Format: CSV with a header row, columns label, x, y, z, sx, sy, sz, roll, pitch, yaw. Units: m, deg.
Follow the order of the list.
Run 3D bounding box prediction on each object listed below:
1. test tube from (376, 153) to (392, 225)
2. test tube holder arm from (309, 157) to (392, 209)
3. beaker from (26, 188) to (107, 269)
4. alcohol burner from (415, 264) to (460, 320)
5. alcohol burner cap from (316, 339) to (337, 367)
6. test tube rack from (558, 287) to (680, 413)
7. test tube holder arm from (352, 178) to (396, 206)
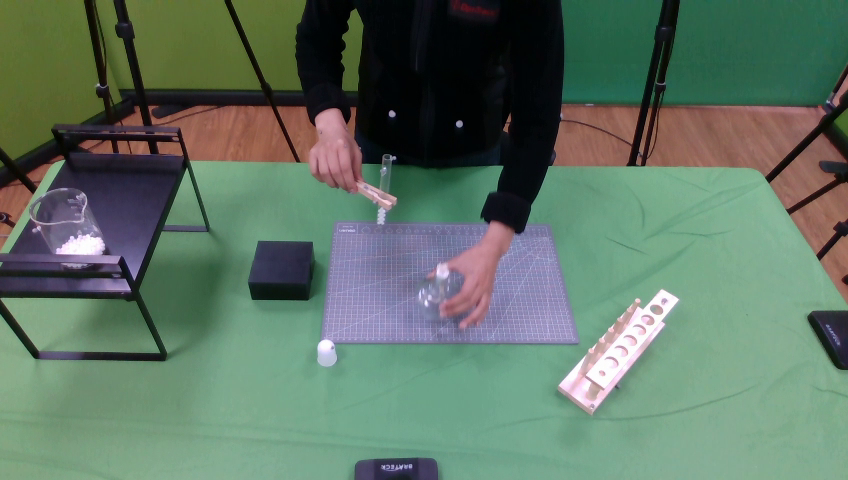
label,x,y,z,sx,sy,sz,roll,pitch,yaw
test tube,-0.068,-0.083,1.022,0.017,0.151,0.017,5,43,-5
test tube holder arm,-0.129,-0.101,1.050,0.178,0.015,0.013,29,39,17
beaker,-0.504,-0.013,0.868,0.084,0.101,0.074,23,49,17
alcohol burner,0.024,0.081,1.013,0.078,0.119,0.077,4,48,-4
alcohol burner cap,-0.161,0.182,0.995,0.034,0.048,0.033,2,47,-1
test tube rack,0.326,0.170,1.009,0.066,0.085,0.242,36,54,26
test tube holder arm,-0.088,-0.083,1.043,0.087,0.015,0.010,25,39,12
